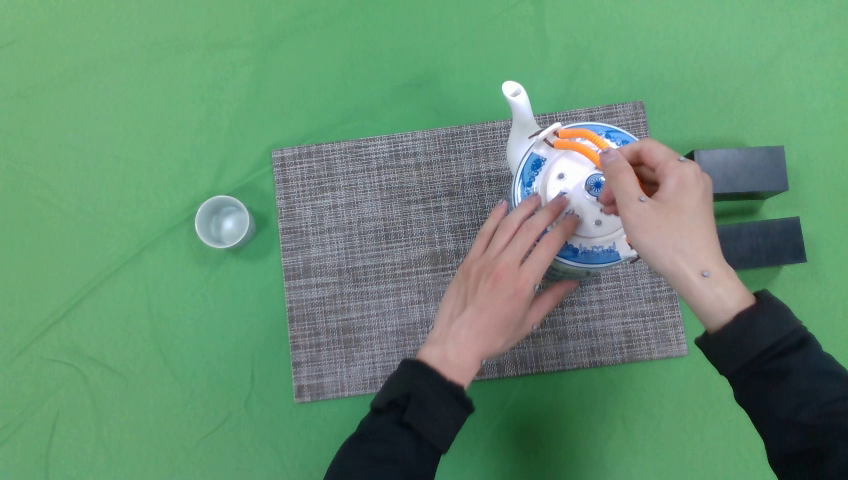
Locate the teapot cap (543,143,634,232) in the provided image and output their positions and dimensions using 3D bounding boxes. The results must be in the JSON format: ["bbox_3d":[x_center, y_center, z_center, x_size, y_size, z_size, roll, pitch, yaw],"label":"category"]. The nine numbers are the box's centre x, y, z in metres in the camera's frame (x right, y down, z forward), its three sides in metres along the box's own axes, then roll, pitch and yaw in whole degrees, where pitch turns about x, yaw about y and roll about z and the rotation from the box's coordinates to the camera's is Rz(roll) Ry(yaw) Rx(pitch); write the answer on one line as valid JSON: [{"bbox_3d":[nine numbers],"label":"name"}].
[{"bbox_3d":[0.153,-0.050,0.559,0.085,0.044,0.085,0,77,2],"label":"teapot cap"}]

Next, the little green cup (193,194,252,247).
[{"bbox_3d":[-0.232,-0.020,0.707,0.061,0.039,0.061,0,82,3],"label":"little green cup"}]

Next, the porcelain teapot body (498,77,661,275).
[{"bbox_3d":[0.136,-0.067,0.602,0.145,0.226,0.205,-40,82,-3],"label":"porcelain teapot body"}]
